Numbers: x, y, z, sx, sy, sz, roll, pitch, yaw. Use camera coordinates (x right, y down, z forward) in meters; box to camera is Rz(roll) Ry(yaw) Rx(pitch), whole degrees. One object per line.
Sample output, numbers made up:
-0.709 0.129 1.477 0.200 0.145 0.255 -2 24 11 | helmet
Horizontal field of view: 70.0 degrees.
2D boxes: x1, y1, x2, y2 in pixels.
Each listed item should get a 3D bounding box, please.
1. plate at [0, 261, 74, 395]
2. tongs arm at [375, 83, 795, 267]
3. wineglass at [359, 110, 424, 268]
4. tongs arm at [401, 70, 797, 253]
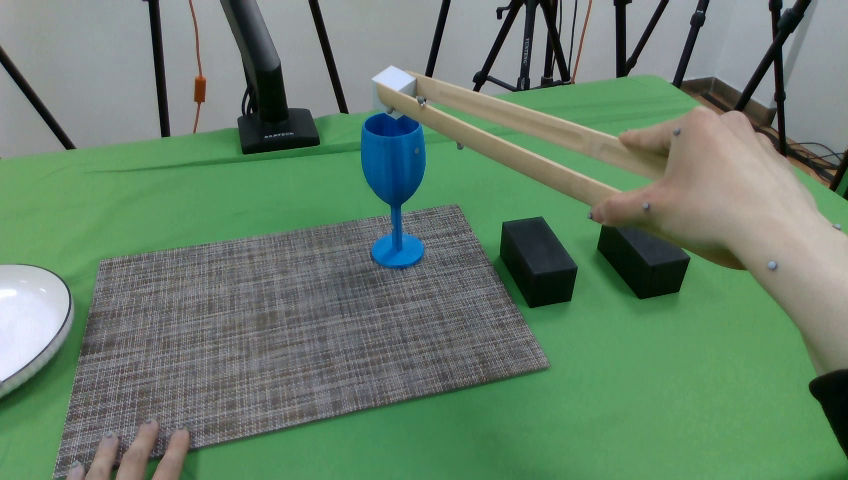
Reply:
-0.459 0.100 0.602 0.209 0.038 0.207 0 38 0 | plate
0.092 -0.072 0.492 0.051 0.027 0.380 -32 45 -26 | tongs arm
-0.035 -0.055 0.689 0.074 0.174 0.073 0 38 0 | wineglass
0.110 -0.084 0.504 0.028 0.028 0.383 -32 45 -32 | tongs arm
